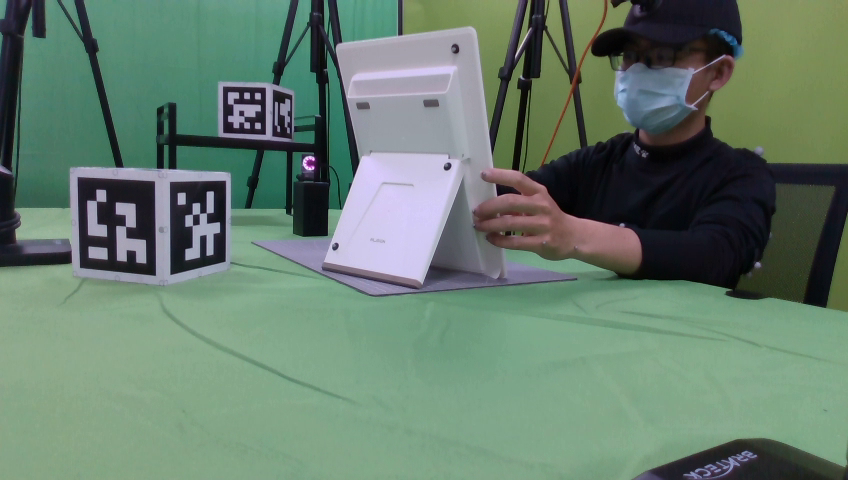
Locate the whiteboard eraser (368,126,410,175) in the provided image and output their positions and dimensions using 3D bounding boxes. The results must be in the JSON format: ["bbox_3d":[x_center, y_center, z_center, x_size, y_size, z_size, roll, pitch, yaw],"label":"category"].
[{"bbox_3d":[-0.051,-0.131,0.883,0.041,0.019,0.101,12,-25,23],"label":"whiteboard eraser"}]

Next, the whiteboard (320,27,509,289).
[{"bbox_3d":[-0.046,-0.076,0.721,0.216,0.305,0.144,9,29,39],"label":"whiteboard"}]
